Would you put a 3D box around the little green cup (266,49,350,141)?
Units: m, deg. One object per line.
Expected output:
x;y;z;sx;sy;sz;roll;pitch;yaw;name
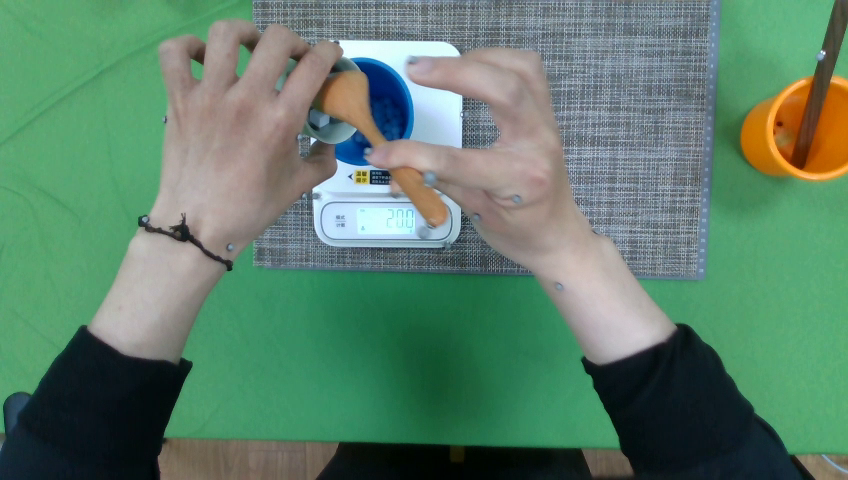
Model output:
-0.081;-0.106;0.434;0.038;0.062;0.061;29;97;28;little green cup

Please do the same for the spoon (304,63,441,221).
-0.031;-0.063;0.350;0.041;0.191;0.022;-32;136;-4;spoon

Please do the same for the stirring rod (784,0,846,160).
0.336;-0.137;0.523;0.014;0.005;0.178;-13;136;5;stirring rod

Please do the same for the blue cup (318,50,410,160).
-0.050;-0.112;0.529;0.092;0.100;0.093;0;97;4;blue cup

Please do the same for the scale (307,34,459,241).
-0.040;-0.099;0.594;0.148;0.031;0.201;0;96;3;scale
